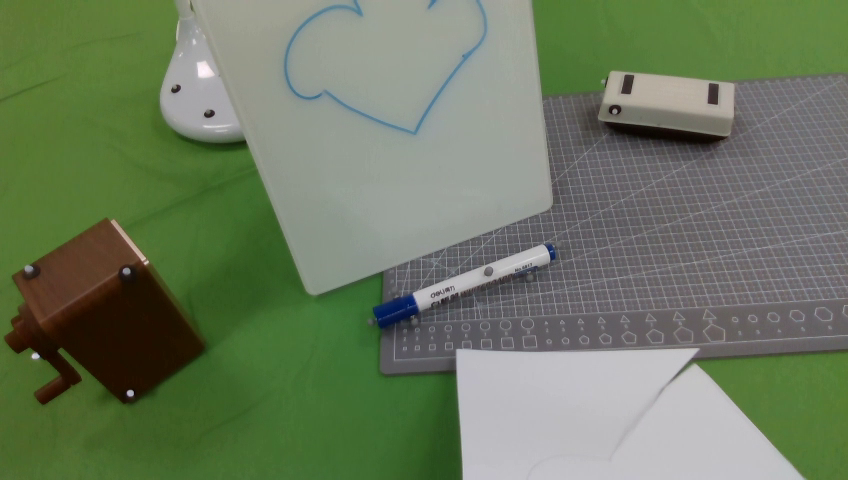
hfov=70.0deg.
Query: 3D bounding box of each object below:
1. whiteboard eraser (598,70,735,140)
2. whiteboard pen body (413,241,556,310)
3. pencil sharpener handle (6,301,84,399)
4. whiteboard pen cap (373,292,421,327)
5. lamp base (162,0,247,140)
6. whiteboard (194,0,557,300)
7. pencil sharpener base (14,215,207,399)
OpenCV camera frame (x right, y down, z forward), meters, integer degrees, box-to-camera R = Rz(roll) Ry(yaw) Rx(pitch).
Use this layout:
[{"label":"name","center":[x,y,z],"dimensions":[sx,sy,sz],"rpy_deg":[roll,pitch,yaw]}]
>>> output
[{"label":"whiteboard eraser","center":[0.219,-0.122,0.549],"dimensions":[0.112,0.042,0.055],"rpy_deg":[11,54,15]},{"label":"whiteboard pen body","center":[0.035,0.030,0.455],"dimensions":[0.141,0.017,0.017],"rpy_deg":[-20,51,-9]},{"label":"pencil sharpener handle","center":[-0.247,0.072,0.384],"dimensions":[0.030,0.068,0.035],"rpy_deg":[-38,44,-22]},{"label":"whiteboard pen cap","center":[-0.020,0.051,0.446],"dimensions":[0.033,0.018,0.018],"rpy_deg":[-21,51,-9]},{"label":"lamp base","center":[-0.210,-0.216,0.585],"dimensions":[0.177,0.182,0.160],"rpy_deg":[30,60,30]},{"label":"whiteboard","center":[-0.040,-0.146,0.467],"dimensions":[0.217,0.308,0.142],"rpy_deg":[-20,32,-9]},{"label":"pencil sharpener base","center":[-0.210,0.050,0.415],"dimensions":[0.076,0.108,0.061],"rpy_deg":[-38,57,-22]}]
